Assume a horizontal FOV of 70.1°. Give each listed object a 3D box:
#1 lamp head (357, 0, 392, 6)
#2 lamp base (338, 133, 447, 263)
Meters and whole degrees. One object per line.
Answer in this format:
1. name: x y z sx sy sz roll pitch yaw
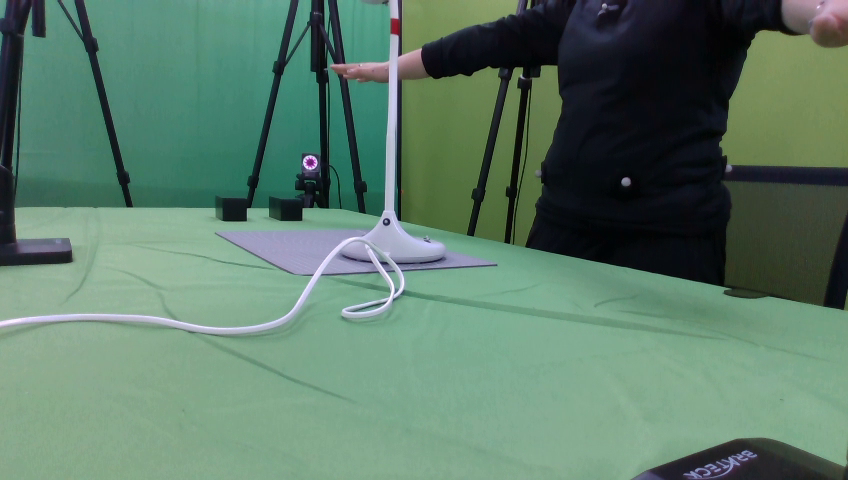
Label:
1. lamp head: -0.056 -0.383 0.819 0.113 0.112 0.122 0 13 -22
2. lamp base: -0.043 -0.062 0.868 0.161 0.180 0.179 2 10 -3
